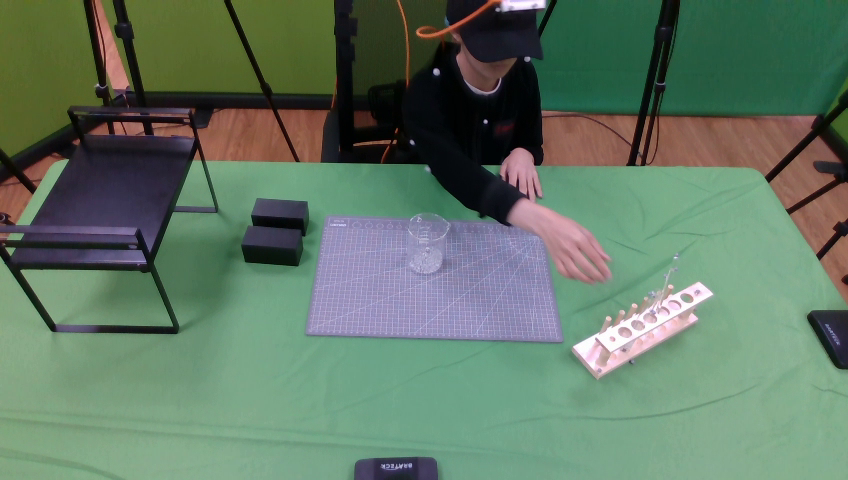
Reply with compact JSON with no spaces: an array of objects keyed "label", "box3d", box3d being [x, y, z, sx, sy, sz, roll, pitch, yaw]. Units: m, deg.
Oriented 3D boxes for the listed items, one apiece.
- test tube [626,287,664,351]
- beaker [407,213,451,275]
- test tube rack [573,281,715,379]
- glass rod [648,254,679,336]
[{"label":"test tube","box3d":[0.354,0.130,0.977,0.017,0.151,0.017,3,43,-3]},{"label":"beaker","box3d":[0.008,0.009,1.129,0.084,0.101,0.073,-11,48,-15]},{"label":"test tube rack","box3d":[0.378,0.140,1.038,0.242,0.085,0.066,-22,51,-23]},{"label":"glass rod","box3d":[0.391,0.094,0.991,0.008,0.201,0.008,-2,44,2]}]
